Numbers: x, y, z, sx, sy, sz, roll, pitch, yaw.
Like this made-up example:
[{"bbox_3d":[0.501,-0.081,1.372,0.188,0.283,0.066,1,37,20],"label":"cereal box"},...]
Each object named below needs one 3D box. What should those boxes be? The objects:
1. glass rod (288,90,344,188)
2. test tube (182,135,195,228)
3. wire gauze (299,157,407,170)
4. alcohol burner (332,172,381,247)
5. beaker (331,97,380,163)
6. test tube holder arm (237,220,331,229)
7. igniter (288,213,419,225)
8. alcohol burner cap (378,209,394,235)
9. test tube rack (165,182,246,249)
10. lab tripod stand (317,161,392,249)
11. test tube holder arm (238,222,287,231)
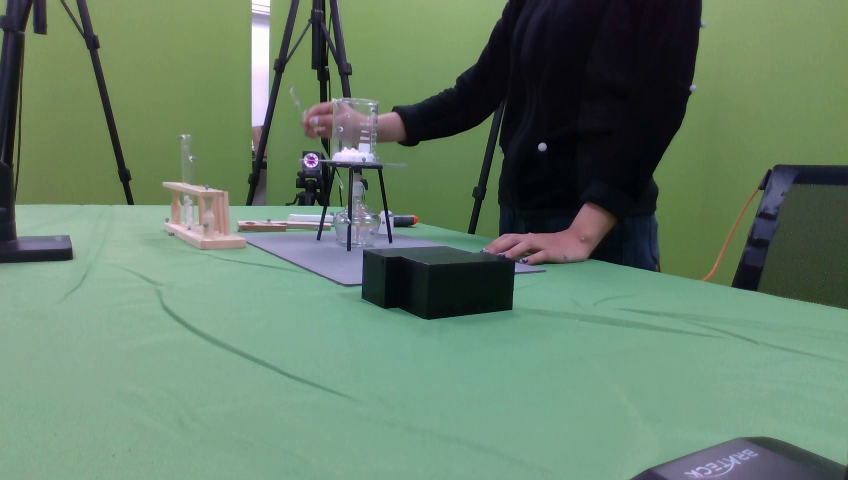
[{"bbox_3d":[-0.196,-0.182,1.105,0.008,0.200,0.008,-24,19,9],"label":"glass rod"},{"bbox_3d":[-0.382,-0.095,0.983,0.017,0.150,0.017,-1,2,0],"label":"test tube"},{"bbox_3d":[-0.112,-0.124,0.959,0.121,0.011,0.126,13,12,40],"label":"wire gauze"},{"bbox_3d":[-0.107,-0.048,0.961,0.078,0.119,0.078,1,9,0],"label":"alcohol burner"},{"bbox_3d":[-0.111,-0.171,0.950,0.073,0.100,0.084,12,12,42],"label":"beaker"},{"bbox_3d":[-0.260,-0.028,1.140,0.179,0.015,0.013,-1,40,-32],"label":"test tube holder arm"},{"bbox_3d":[-0.145,-0.044,1.278,0.278,0.025,0.057,-1,-2,-21],"label":"igniter"},{"bbox_3d":[-0.072,-0.035,1.145,0.034,0.048,0.034,2,7,0],"label":"alcohol burner cap"},{"bbox_3d":[-0.360,-0.045,0.983,0.067,0.085,0.241,-3,9,-34],"label":"test tube rack"},{"bbox_3d":[-0.111,-0.059,0.964,0.148,0.131,0.148,4,8,0],"label":"lab tripod stand"},{"bbox_3d":[-0.296,-0.024,1.112,0.088,0.015,0.010,-1,40,-32],"label":"test tube holder arm"}]
